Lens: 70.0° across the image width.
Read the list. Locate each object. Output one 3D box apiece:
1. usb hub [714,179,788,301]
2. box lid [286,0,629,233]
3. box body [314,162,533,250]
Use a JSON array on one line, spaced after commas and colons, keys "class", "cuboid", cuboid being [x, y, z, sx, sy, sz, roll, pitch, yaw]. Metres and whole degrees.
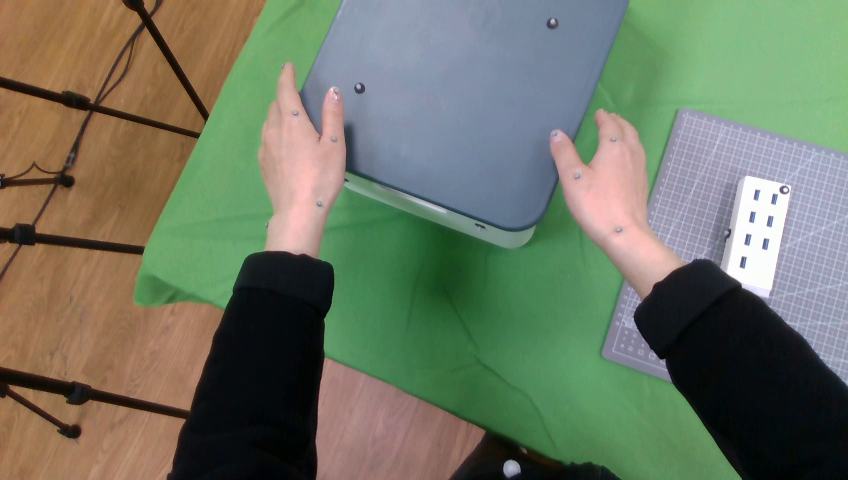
[{"class": "usb hub", "cuboid": [0.350, -0.001, 0.649, 0.049, 0.025, 0.125, 15, 81, 9]}, {"class": "box lid", "cuboid": [0.046, -0.208, 0.583, 0.262, 0.015, 0.370, 21, 82, 10]}, {"class": "box body", "cuboid": [0.056, -0.195, 0.655, 0.253, 0.161, 0.363, 21, 82, 10]}]
